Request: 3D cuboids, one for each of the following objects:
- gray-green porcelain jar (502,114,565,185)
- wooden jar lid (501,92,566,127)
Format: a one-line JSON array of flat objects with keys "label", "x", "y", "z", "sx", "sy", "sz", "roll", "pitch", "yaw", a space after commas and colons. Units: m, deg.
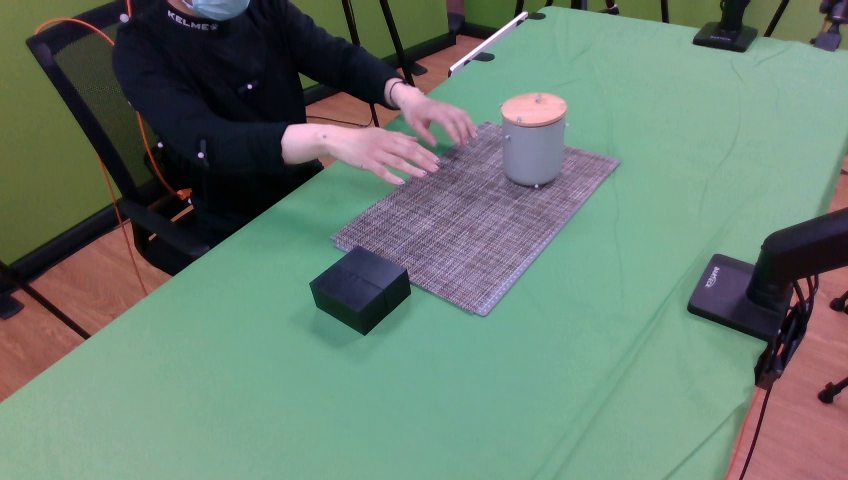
[{"label": "gray-green porcelain jar", "x": 0.189, "y": -0.168, "z": 1.051, "sx": 0.106, "sy": 0.127, "sz": 0.105, "roll": -4, "pitch": 41, "yaw": 4}, {"label": "wooden jar lid", "x": 0.183, "y": -0.214, "z": 1.010, "sx": 0.108, "sy": 0.021, "sz": 0.108, "roll": -5, "pitch": 40, "yaw": 5}]
